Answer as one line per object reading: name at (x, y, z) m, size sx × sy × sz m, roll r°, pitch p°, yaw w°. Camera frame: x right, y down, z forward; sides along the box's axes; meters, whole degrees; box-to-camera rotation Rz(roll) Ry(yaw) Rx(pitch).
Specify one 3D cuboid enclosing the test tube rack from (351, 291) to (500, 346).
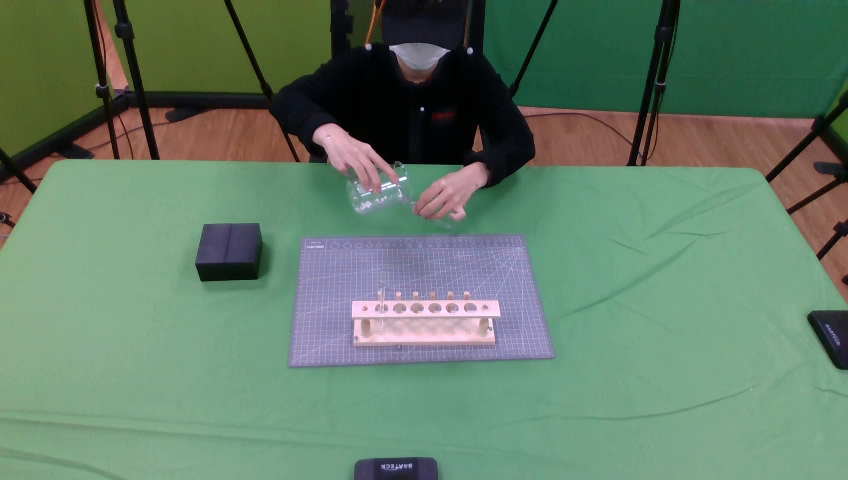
test tube rack at (0.000, 0.129, 1.026) m, size 0.242 × 0.085 × 0.066 m, roll 0°, pitch 46°, yaw -4°

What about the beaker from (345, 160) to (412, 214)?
beaker at (-0.083, -0.090, 1.080) m, size 0.100 × 0.084 × 0.073 m, roll -20°, pitch 39°, yaw -20°

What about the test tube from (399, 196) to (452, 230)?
test tube at (0.006, -0.050, 1.171) m, size 0.151 × 0.017 × 0.017 m, roll 28°, pitch 27°, yaw -44°

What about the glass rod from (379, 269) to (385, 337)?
glass rod at (-0.066, 0.104, 0.953) m, size 0.008 × 0.200 × 0.008 m, roll 3°, pitch 52°, yaw -3°
